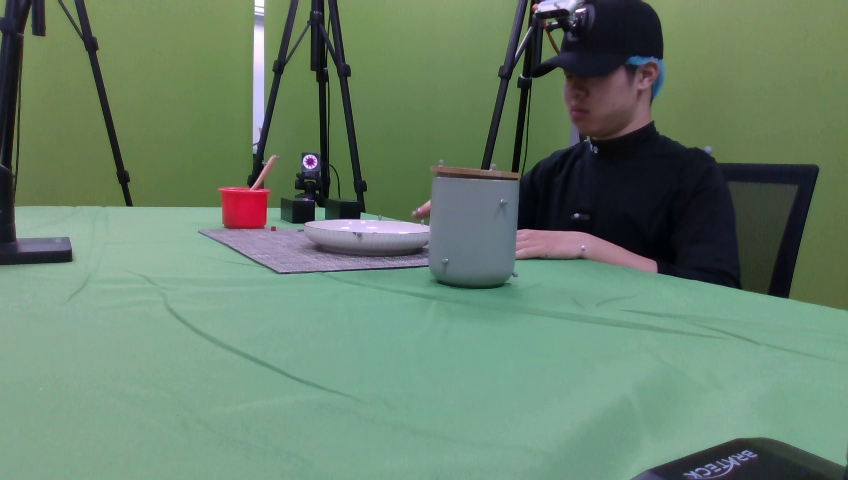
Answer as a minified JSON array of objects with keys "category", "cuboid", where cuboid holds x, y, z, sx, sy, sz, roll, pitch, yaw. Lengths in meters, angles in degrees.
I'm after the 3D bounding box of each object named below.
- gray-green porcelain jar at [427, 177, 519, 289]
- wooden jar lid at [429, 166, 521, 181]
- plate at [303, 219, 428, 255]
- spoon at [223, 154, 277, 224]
[{"category":"gray-green porcelain jar","cuboid":[0.057,-0.010,0.722,0.106,0.126,0.106,2,7,0]},{"category":"wooden jar lid","cuboid":[0.059,-0.074,0.714,0.108,0.020,0.108,4,6,0]},{"category":"plate","cuboid":[-0.085,-0.005,0.952,0.208,0.039,0.207,3,7,0]},{"category":"spoon","cuboid":[-0.345,-0.106,1.214,0.041,0.022,0.194,1,45,27]}]
